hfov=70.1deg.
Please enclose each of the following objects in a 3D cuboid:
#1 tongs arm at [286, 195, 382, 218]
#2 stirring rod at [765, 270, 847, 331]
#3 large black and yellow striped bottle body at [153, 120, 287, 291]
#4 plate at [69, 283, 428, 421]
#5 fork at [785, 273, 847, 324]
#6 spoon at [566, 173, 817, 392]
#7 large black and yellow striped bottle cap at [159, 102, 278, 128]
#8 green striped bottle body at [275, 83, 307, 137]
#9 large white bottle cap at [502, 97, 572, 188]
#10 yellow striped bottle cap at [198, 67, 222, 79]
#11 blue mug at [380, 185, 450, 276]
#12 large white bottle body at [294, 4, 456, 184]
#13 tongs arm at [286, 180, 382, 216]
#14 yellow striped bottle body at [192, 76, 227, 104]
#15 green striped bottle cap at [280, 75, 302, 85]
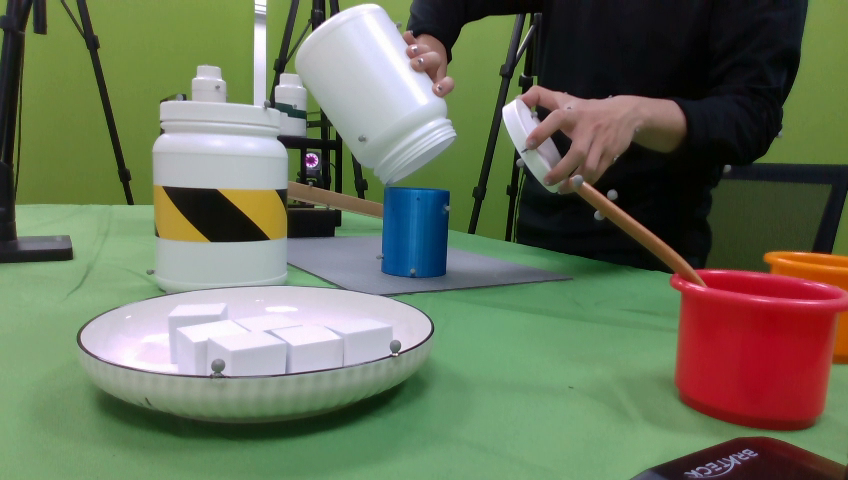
[{"bbox_3d":[-0.165,-0.074,1.216,0.389,0.027,0.028,11,-6,-24],"label":"tongs arm"},{"bbox_3d":[0.352,0.020,0.484,0.176,0.006,0.014,-40,-7,12],"label":"stirring rod"},{"bbox_3d":[-0.208,-0.042,0.626,0.131,0.184,0.130,2,7,0],"label":"large black and yellow striped bottle body"},{"bbox_3d":[-0.102,0.066,0.380,0.208,0.039,0.207,2,7,0],"label":"plate"},{"bbox_3d":[0.332,0.018,0.444,0.028,0.018,0.207,-2,-35,-15],"label":"fork"},{"bbox_3d":[0.161,0.024,0.370,0.193,0.021,0.042,47,17,3],"label":"spoon"},{"bbox_3d":[-0.207,-0.125,0.615,0.115,0.019,0.115,2,6,0],"label":"large black and yellow striped bottle cap"},{"bbox_3d":[-0.269,-0.269,1.221,0.063,0.119,0.063,2,7,0],"label":"green striped bottle body"},{"bbox_3d":[0.129,-0.111,0.686,0.018,0.114,0.115,-34,-10,26],"label":"large white bottle cap"},{"bbox_3d":[-0.412,-0.320,1.162,0.044,0.018,0.044,0,5,0],"label":"yellow striped bottle cap"},{"bbox_3d":[-0.018,-0.016,0.764,0.083,0.106,0.116,-1,8,-25],"label":"blue mug"},{"bbox_3d":[-0.056,-0.172,0.735,0.130,0.184,0.130,-35,-1,0],"label":"large white bottle body"},{"bbox_3d":[-0.122,-0.066,1.147,0.387,0.026,0.050,11,-2,-37],"label":"tongs arm"},{"bbox_3d":[-0.414,-0.268,1.169,0.063,0.120,0.063,2,7,0],"label":"yellow striped bottle body"},{"bbox_3d":[-0.267,-0.320,1.216,0.044,0.020,0.044,2,8,0],"label":"green striped bottle cap"}]
